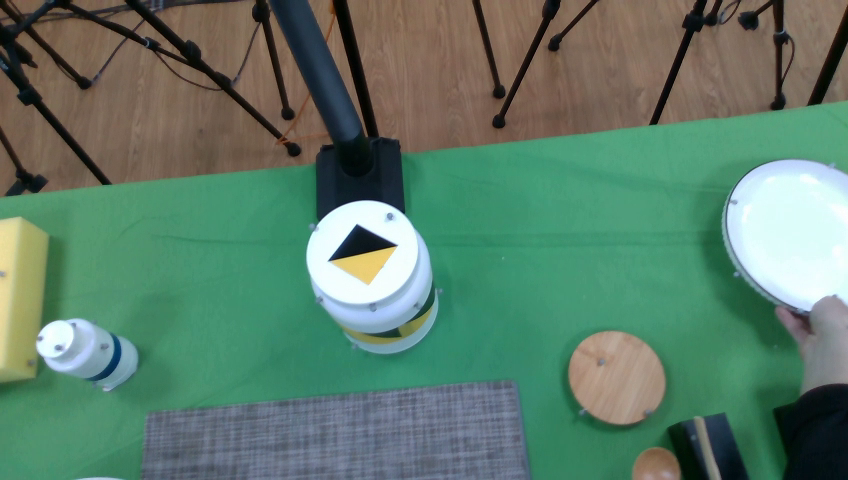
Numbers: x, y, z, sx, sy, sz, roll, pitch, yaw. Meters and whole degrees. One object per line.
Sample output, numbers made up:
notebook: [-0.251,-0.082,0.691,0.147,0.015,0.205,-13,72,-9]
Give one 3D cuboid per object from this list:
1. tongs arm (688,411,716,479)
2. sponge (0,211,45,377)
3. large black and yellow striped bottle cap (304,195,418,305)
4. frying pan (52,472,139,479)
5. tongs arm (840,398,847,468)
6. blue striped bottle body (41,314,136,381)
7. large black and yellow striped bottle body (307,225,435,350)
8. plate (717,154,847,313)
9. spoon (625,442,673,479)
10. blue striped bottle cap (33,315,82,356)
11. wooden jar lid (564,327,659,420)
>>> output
tongs arm: [0.329,0.356,0.579,0.051,0.026,0.382,-10,77,1]
sponge: [-0.575,0.074,0.785,0.118,0.061,0.205,-10,68,0]
large black and yellow striped bottle cap: [-0.064,0.009,0.614,0.115,0.019,0.114,-2,69,4]
frying pan: [-0.376,0.476,0.561,0.306,0.103,0.484,12,57,7]
tongs arm: [0.412,0.347,0.573,0.028,0.028,0.386,4,79,1]
blue striped bottle body: [-0.401,0.126,0.718,0.063,0.122,0.062,-2,67,4]
large black and yellow striped bottle body: [-0.058,0.043,0.691,0.131,0.185,0.130,-2,67,4]
plate: [0.461,-0.008,0.739,0.209,0.038,0.207,0,66,1]
spoon: [0.190,0.276,0.529,0.041,0.022,0.192,10,73,7]
blue striped bottle cap: [-0.406,0.105,0.671,0.044,0.021,0.044,-1,69,4]
wooden jar lid: [0.219,0.156,0.711,0.108,0.021,0.107,-1,69,4]
